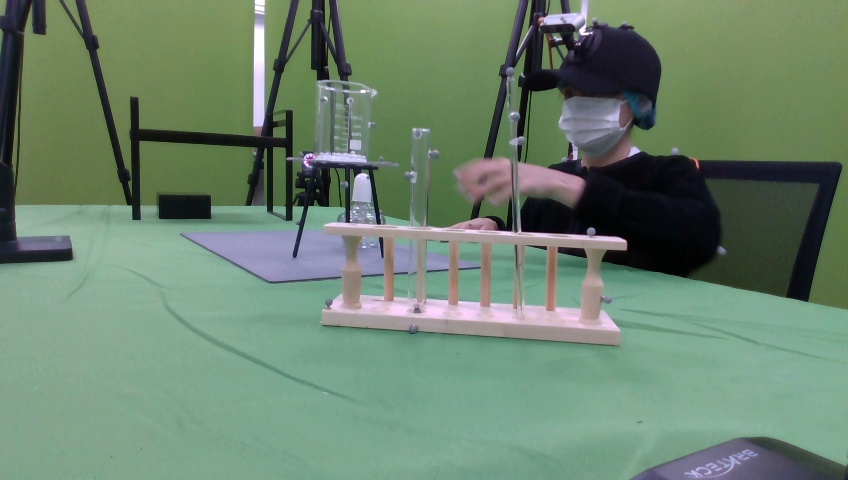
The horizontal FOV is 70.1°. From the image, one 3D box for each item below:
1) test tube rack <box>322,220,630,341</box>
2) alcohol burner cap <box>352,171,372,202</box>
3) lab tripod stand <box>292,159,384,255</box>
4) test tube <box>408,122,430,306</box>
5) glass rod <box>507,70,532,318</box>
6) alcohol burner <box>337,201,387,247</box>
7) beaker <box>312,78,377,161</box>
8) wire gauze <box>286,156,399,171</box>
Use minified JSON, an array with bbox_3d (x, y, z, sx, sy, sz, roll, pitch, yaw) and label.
[{"bbox_3d":[0.041,0.029,0.512,0.242,0.085,0.067,3,7,5],"label":"test tube rack"},{"bbox_3d":[-0.096,-0.084,0.951,0.034,0.048,0.034,5,5,0],"label":"alcohol burner cap"},{"bbox_3d":[-0.105,-0.039,0.797,0.148,0.131,0.148,2,5,0],"label":"lab tripod stand"},{"bbox_3d":[-0.004,-0.019,0.489,0.017,0.150,0.017,1,11,0],"label":"test tube"},{"bbox_3d":[0.076,-0.031,0.476,0.008,0.199,0.008,-6,12,2],"label":"glass rod"},{"bbox_3d":[-0.098,-0.049,0.954,0.078,0.119,0.078,0,6,0],"label":"alcohol burner"},{"bbox_3d":[-0.103,-0.151,0.776,0.084,0.100,0.074,5,6,14],"label":"beaker"},{"bbox_3d":[-0.101,-0.103,0.788,0.121,0.011,0.125,5,4,6],"label":"wire gauze"}]
